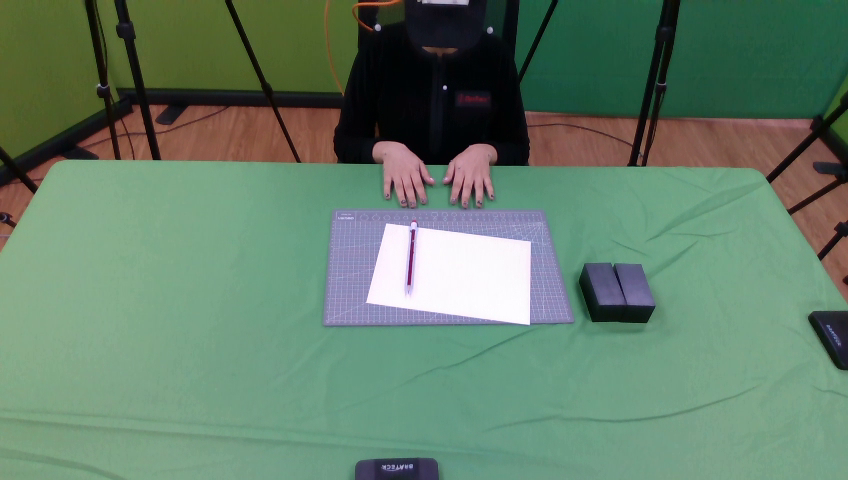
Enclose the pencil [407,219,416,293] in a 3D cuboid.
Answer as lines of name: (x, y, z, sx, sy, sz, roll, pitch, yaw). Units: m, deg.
pencil: (-0.025, 0.028, 1.172, 0.012, 0.012, 0.193, 3, 46, 0)
